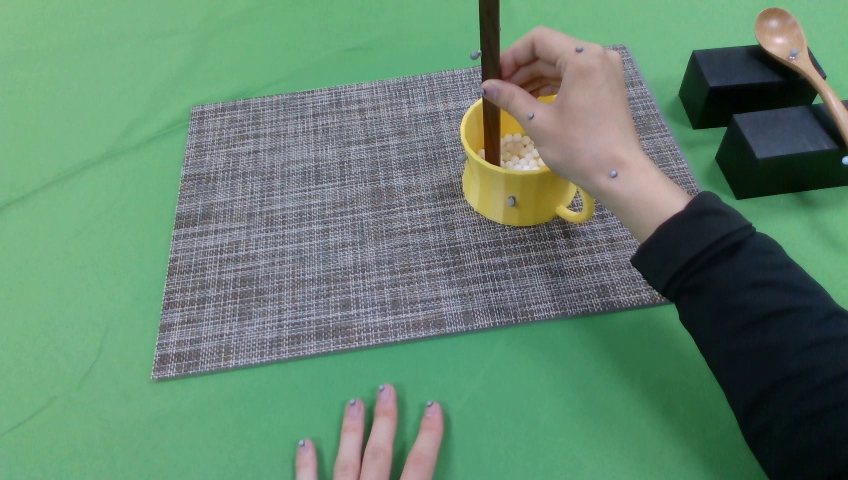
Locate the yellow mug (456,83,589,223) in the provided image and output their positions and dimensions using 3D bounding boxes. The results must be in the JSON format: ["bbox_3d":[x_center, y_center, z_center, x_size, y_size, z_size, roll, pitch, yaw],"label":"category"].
[{"bbox_3d":[0.086,-0.063,0.497,0.100,0.064,0.129,-35,60,-19],"label":"yellow mug"}]

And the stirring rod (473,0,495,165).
[{"bbox_3d":[0.046,-0.112,0.456,0.014,0.178,0.006,13,60,14],"label":"stirring rod"}]

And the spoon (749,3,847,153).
[{"bbox_3d":[0.317,-0.125,0.492,0.041,0.022,0.191,-8,57,-2],"label":"spoon"}]
